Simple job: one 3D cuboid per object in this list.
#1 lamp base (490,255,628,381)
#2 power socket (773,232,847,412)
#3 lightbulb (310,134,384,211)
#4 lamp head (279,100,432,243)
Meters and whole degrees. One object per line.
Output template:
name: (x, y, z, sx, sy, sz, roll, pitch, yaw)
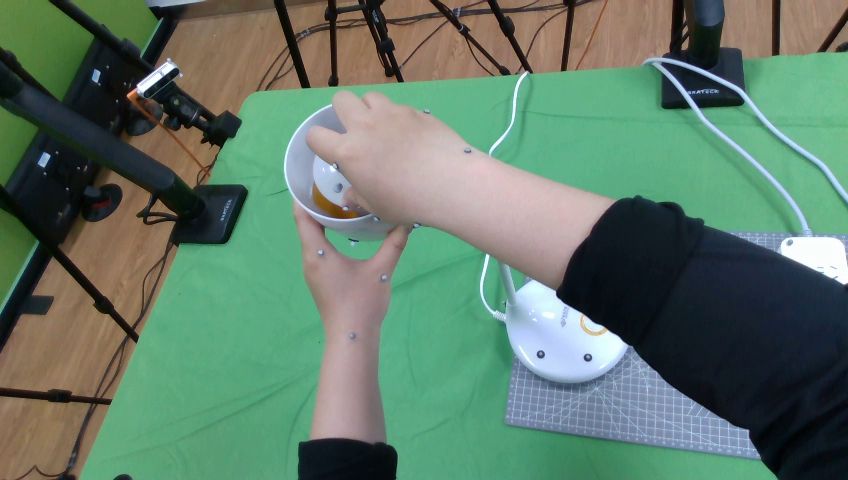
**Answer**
lamp base: (0.153, 0.071, 0.744, 0.178, 0.182, 0.159, -5, 58, 19)
power socket: (0.466, 0.088, 0.721, 0.072, 0.033, 0.225, 1, 59, 18)
lightbulb: (-0.059, -0.050, 0.517, 0.059, 0.108, 0.059, -2, 75, 8)
lamp head: (-0.052, -0.047, 0.541, 0.112, 0.124, 0.111, -4, 69, 12)
